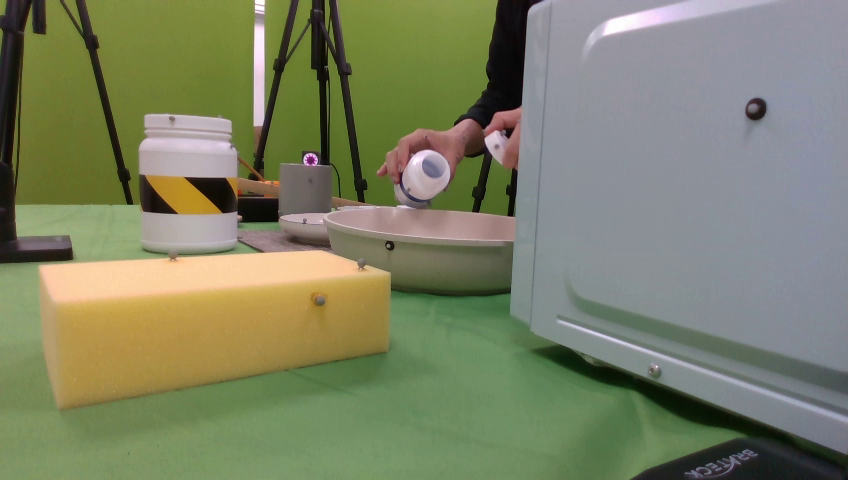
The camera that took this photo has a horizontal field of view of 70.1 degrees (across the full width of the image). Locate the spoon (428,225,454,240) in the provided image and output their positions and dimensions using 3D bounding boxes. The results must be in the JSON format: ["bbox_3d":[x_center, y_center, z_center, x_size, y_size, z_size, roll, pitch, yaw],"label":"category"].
[{"bbox_3d":[0.024,-0.018,1.125,0.042,0.021,0.193,-16,9,-4],"label":"spoon"}]

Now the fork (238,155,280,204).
[{"bbox_3d":[-0.396,-0.143,1.486,0.028,0.018,0.208,19,-26,44],"label":"fork"}]

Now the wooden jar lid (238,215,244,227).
[{"bbox_3d":[-0.404,-0.037,1.169,0.108,0.020,0.108,3,7,0],"label":"wooden jar lid"}]

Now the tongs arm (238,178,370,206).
[{"bbox_3d":[-0.241,-0.095,1.373,0.387,0.026,0.050,9,-1,-37],"label":"tongs arm"}]

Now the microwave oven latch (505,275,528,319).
[{"bbox_3d":[0.100,0.042,0.471,0.079,0.029,0.030,-1,7,-29],"label":"microwave oven latch"}]

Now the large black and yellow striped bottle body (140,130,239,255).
[{"bbox_3d":[-0.336,-0.078,0.871,0.131,0.184,0.130,2,8,0],"label":"large black and yellow striped bottle body"}]

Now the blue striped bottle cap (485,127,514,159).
[{"bbox_3d":[0.099,-0.120,0.747,0.045,0.020,0.044,19,31,-12],"label":"blue striped bottle cap"}]

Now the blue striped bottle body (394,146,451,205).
[{"bbox_3d":[-0.001,-0.095,0.871,0.063,0.063,0.120,0,-11,-15],"label":"blue striped bottle body"}]

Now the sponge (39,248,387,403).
[{"bbox_3d":[-0.142,0.047,0.420,0.208,0.061,0.117,-3,8,-37],"label":"sponge"}]

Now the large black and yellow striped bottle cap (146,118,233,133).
[{"bbox_3d":[-0.333,-0.163,0.861,0.115,0.019,0.115,1,9,0],"label":"large black and yellow striped bottle cap"}]

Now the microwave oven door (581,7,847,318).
[{"bbox_3d":[0.295,-0.067,0.569,0.358,0.243,0.039,-3,8,-31],"label":"microwave oven door"}]

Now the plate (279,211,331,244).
[{"bbox_3d":[-0.139,-0.022,1.021,0.209,0.038,0.209,2,8,0],"label":"plate"}]

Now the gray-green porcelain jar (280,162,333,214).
[{"bbox_3d":[-0.238,-0.092,1.221,0.106,0.126,0.106,2,7,0],"label":"gray-green porcelain jar"}]

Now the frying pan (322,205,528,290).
[{"bbox_3d":[0.110,-0.018,0.800,0.490,0.102,0.305,-12,16,-30],"label":"frying pan"}]

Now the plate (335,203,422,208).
[{"bbox_3d":[-0.089,-0.053,1.309,0.208,0.039,0.207,2,8,0],"label":"plate"}]

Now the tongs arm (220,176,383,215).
[{"bbox_3d":[-0.285,-0.103,1.445,0.389,0.027,0.028,9,-4,-23],"label":"tongs arm"}]

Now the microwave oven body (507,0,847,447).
[{"bbox_3d":[0.331,-0.042,0.425,0.444,0.260,0.324,-2,8,-31],"label":"microwave oven body"}]
